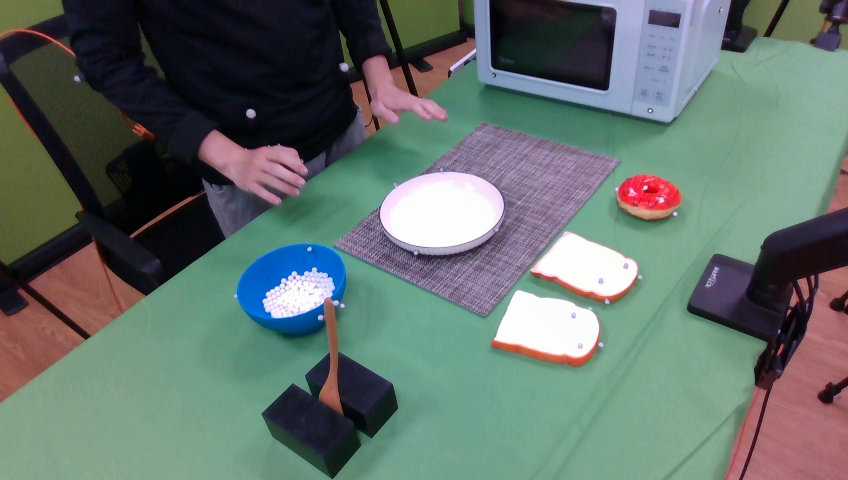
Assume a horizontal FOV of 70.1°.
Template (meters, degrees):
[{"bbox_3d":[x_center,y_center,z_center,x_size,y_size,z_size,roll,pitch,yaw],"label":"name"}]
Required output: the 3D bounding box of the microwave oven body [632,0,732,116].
[{"bbox_3d":[0.377,-0.462,1.267,0.438,0.261,0.327,21,48,30],"label":"microwave oven body"}]

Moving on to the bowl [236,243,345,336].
[{"bbox_3d":[-0.180,0.082,0.855,0.151,0.077,0.150,-4,41,4],"label":"bowl"}]

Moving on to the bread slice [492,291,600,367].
[{"bbox_3d":[0.169,0.118,0.811,0.131,0.019,0.105,11,44,21],"label":"bread slice"}]

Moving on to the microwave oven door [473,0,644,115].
[{"bbox_3d":[0.257,-0.396,1.199,0.353,0.245,0.039,21,48,29],"label":"microwave oven door"}]

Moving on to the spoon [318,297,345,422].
[{"bbox_3d":[-0.106,0.139,0.688,0.041,0.194,0.022,26,37,31],"label":"spoon"}]

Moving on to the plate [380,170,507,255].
[{"bbox_3d":[0.033,-0.042,0.995,0.207,0.039,0.206,-4,40,4],"label":"plate"}]

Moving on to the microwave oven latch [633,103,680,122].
[{"bbox_3d":[0.443,-0.249,1.157,0.078,0.029,0.030,21,48,30],"label":"microwave oven latch"}]

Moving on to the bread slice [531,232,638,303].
[{"bbox_3d":[0.242,0.042,0.888,0.133,0.018,0.107,22,49,31],"label":"bread slice"}]

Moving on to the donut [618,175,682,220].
[{"bbox_3d":[0.366,-0.070,0.981,0.099,0.048,0.098,-3,39,3],"label":"donut"}]
